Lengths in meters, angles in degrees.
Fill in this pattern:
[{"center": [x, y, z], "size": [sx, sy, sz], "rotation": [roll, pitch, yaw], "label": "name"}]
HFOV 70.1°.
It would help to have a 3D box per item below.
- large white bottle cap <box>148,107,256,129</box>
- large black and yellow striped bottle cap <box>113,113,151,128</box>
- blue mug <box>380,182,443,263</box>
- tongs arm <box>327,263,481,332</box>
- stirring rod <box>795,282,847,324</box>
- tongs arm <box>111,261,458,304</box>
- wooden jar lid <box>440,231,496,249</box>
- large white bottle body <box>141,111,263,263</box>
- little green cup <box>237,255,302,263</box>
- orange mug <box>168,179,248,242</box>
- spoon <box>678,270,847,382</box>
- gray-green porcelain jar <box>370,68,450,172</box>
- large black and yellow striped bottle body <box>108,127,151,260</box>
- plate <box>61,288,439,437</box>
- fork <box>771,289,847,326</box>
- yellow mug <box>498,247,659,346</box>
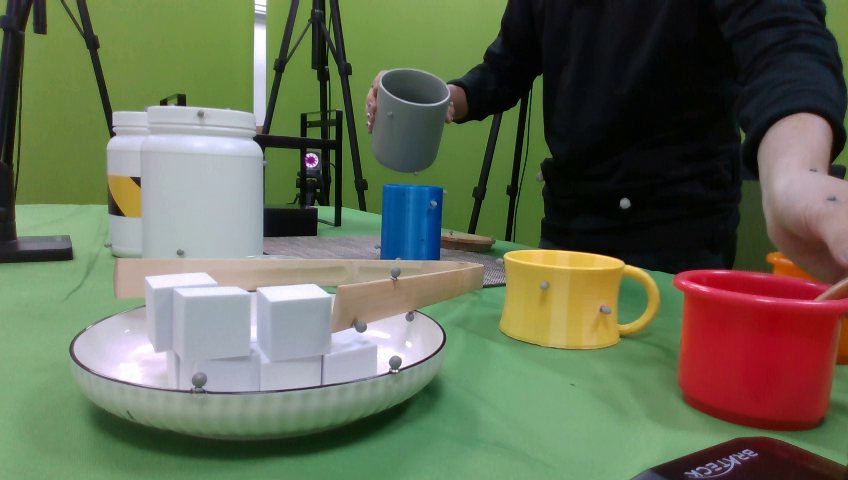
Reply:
[{"center": [-0.250, -0.137, 0.686], "size": [0.115, 0.018, 0.115], "rotation": [2, 8, 0], "label": "large white bottle cap"}, {"center": [-0.348, -0.154, 0.800], "size": [0.115, 0.019, 0.115], "rotation": [2, 6, 0], "label": "large black and yellow striped bottle cap"}, {"center": [-0.019, -0.026, 0.833], "size": [0.082, 0.106, 0.116], "rotation": [1, 7, -7], "label": "blue mug"}, {"center": [-0.003, 0.036, 0.493], "size": [0.050, 0.026, 0.386], "rotation": [1, 0, 19], "label": "tongs arm"}, {"center": [0.346, 0.019, 0.460], "size": [0.014, 0.176, 0.006], "rotation": [-16, 59, -26], "label": "stirring rod"}, {"center": [-0.080, 0.032, 0.527], "size": [0.028, 0.027, 0.389], "rotation": [-3, -3, 33], "label": "tongs arm"}, {"center": [0.066, 0.000, 1.011], "size": [0.108, 0.020, 0.108], "rotation": [6, 7, 0], "label": "wooden jar lid"}, {"center": [-0.254, -0.054, 0.697], "size": [0.131, 0.184, 0.130], "rotation": [2, 7, 0], "label": "large white bottle body"}, {"center": [-0.150, 0.038, 0.590], "size": [0.061, 0.038, 0.061], "rotation": [3, 7, 0], "label": "little green cup"}, {"center": [-0.351, -0.050, 0.986], "size": [0.126, 0.101, 0.083], "rotation": [-4, 8, -9], "label": "orange mug"}, {"center": [0.229, 0.031, 0.338], "size": [0.193, 0.021, 0.042], "rotation": [-44, -17, 27], "label": "spoon"}, {"center": [-0.024, -0.174, 0.900], "size": [0.106, 0.126, 0.105], "rotation": [8, 41, -7], "label": "gray-green porcelain jar"}, {"center": [-0.350, -0.071, 0.812], "size": [0.131, 0.184, 0.130], "rotation": [2, 8, 0], "label": "large black and yellow striped bottle body"}, {"center": [-0.095, 0.069, 0.362], "size": [0.208, 0.039, 0.207], "rotation": [3, 7, 0], "label": "plate"}, {"center": [0.336, 0.018, 0.443], "size": [0.028, 0.018, 0.207], "rotation": [-2, -36, -20], "label": "fork"}, {"center": [0.130, 0.045, 0.508], "size": [0.131, 0.064, 0.100], "rotation": [4, 7, 6], "label": "yellow mug"}]
